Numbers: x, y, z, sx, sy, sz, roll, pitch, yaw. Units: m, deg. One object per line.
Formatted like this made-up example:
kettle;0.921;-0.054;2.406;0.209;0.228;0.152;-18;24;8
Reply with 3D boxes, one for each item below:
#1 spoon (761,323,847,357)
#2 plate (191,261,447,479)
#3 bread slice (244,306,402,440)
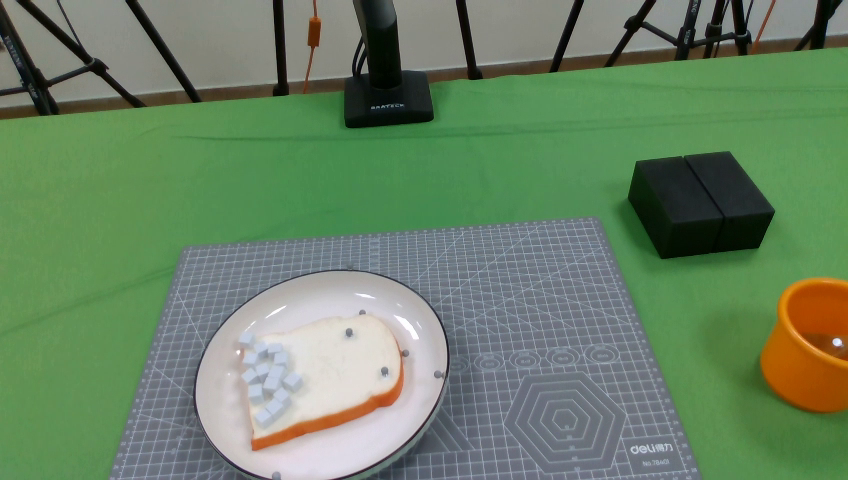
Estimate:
spoon;0.350;0.065;0.449;0.041;0.193;0.022;-41;99;-36
plate;-0.084;0.104;0.509;0.209;0.038;0.207;-1;45;1
bread slice;-0.086;0.102;0.515;0.132;0.019;0.103;-15;47;-10
